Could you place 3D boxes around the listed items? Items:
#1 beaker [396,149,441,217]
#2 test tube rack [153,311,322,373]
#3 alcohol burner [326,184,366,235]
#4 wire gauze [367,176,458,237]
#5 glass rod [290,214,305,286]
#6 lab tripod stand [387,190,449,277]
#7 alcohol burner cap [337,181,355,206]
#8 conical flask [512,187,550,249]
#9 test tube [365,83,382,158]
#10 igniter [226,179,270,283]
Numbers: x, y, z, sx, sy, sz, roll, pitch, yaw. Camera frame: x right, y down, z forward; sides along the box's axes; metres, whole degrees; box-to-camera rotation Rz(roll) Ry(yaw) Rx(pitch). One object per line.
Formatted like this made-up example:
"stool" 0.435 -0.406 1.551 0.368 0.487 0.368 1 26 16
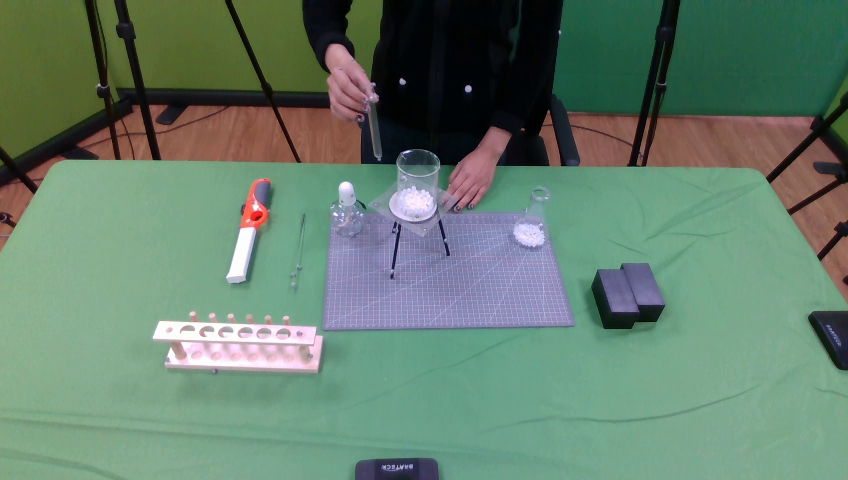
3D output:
"beaker" -0.015 -0.098 1.053 0.074 0.101 0.083 -31 55 -30
"test tube rack" -0.293 0.160 0.978 0.242 0.085 0.066 3 46 -2
"alcohol burner" -0.152 -0.066 1.184 0.078 0.119 0.077 4 46 -4
"wire gauze" -0.020 -0.066 1.089 0.124 0.011 0.121 27 47 22
"glass rod" -0.245 0.015 1.176 0.008 0.008 0.198 1 43 -3
"lab tripod stand" -0.021 -0.018 1.135 0.148 0.132 0.147 3 44 -3
"alcohol burner cap" -0.151 -0.090 1.158 0.034 0.048 0.033 0 52 0
"conical flask" 0.217 -0.048 1.190 0.075 0.122 0.075 2 46 -2
"test tube" -0.088 -0.206 1.064 0.017 0.151 0.017 -2 46 2
"igniter" -0.345 -0.027 1.195 0.057 0.025 0.274 -6 46 5
